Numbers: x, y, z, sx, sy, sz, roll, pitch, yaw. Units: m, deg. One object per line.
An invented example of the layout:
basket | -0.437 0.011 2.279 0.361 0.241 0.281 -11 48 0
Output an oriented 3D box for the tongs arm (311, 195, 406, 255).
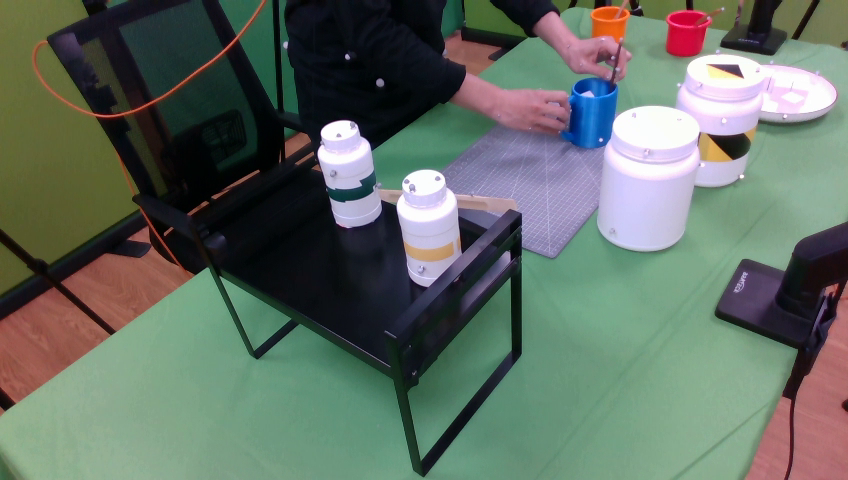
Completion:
tongs arm | -0.078 -0.013 0.944 0.028 0.028 0.384 -42 39 -23

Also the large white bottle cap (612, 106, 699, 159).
large white bottle cap | 0.325 -0.153 0.850 0.115 0.018 0.114 -4 41 4

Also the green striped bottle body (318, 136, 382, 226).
green striped bottle body | -0.090 -0.080 0.733 0.063 0.120 0.063 -5 41 4

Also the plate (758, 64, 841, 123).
plate | 0.695 -0.283 1.189 0.207 0.039 0.206 -4 40 4

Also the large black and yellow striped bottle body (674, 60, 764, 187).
large black and yellow striped bottle body | 0.482 -0.196 1.008 0.131 0.185 0.130 -4 41 4

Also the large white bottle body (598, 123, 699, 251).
large white bottle body | 0.334 -0.090 0.906 0.130 0.185 0.130 -5 41 5

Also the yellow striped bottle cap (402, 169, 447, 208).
yellow striped bottle cap | 0.000 -0.052 0.605 0.044 0.019 0.044 -5 43 5

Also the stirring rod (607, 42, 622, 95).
stirring rod | 0.341 -0.279 1.106 0.006 0.177 0.014 7 44 7

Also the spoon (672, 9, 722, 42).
spoon | 0.606 -0.476 1.345 0.042 0.021 0.193 -6 -3 -2

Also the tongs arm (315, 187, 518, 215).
tongs arm | -0.028 -0.060 0.988 0.382 0.027 0.051 10 44 36

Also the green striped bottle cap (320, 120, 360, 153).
green striped bottle cap | -0.097 -0.120 0.699 0.044 0.020 0.044 -3 40 3

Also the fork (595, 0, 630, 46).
fork | 0.480 -0.556 1.453 0.028 0.019 0.207 41 104 41

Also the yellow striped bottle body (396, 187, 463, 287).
yellow striped bottle body | 0.006 -0.013 0.638 0.063 0.121 0.062 -5 41 4

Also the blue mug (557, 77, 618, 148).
blue mug | 0.303 -0.236 1.138 0.117 0.106 0.081 -17 42 -9

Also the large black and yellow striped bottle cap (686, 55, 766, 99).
large black and yellow striped bottle cap | 0.474 -0.258 0.952 0.115 0.019 0.114 -5 41 5
